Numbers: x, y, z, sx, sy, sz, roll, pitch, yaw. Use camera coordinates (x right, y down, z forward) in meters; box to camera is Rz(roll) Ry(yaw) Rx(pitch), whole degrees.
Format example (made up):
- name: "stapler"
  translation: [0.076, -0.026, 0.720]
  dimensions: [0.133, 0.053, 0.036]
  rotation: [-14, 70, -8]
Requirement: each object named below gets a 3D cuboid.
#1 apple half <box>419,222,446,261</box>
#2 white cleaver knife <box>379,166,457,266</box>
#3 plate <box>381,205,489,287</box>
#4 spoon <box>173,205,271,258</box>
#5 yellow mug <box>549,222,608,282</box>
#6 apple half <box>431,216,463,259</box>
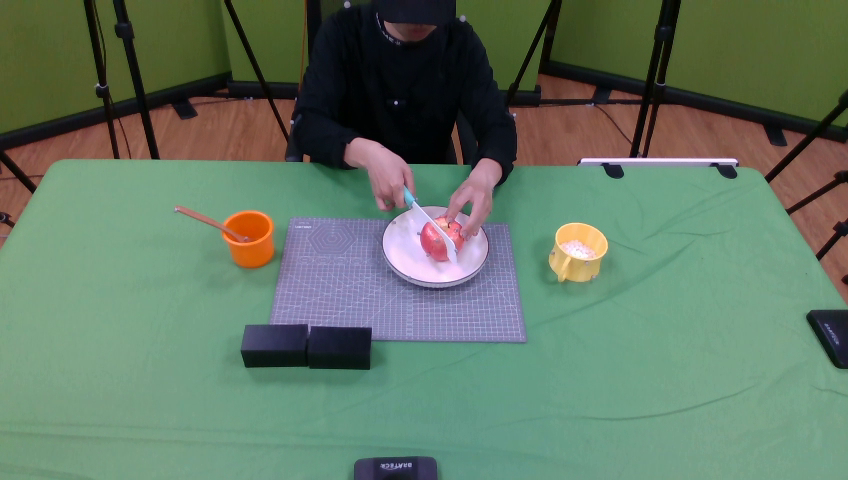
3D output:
- name: "apple half"
  translation: [0.010, 0.010, 1.139]
  dimensions: [0.033, 0.082, 0.081]
  rotation: [-24, 52, -20]
- name: "white cleaver knife"
  translation: [-0.017, -0.051, 1.173]
  dimensions: [0.021, 0.066, 0.284]
  rotation: [-22, 49, -21]
- name: "plate"
  translation: [0.021, 0.015, 1.170]
  dimensions: [0.209, 0.038, 0.208]
  rotation: [2, 46, -2]
- name: "spoon"
  translation: [-0.362, -0.017, 1.098]
  dimensions: [0.021, 0.195, 0.041]
  rotation: [-32, 42, 27]
- name: "yellow mug"
  translation: [0.287, 0.031, 1.159]
  dimensions: [0.099, 0.064, 0.130]
  rotation: [27, 51, 21]
- name: "apple half"
  translation: [0.045, -0.006, 1.155]
  dimensions: [0.053, 0.075, 0.080]
  rotation: [-17, 47, -28]
